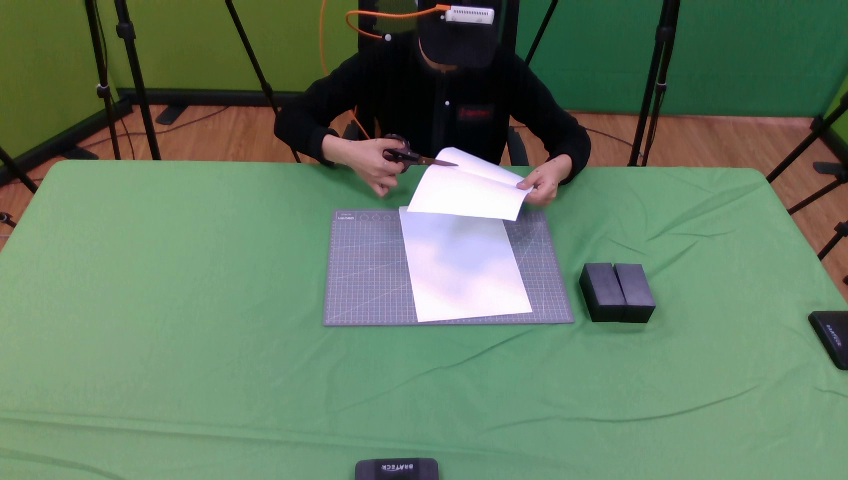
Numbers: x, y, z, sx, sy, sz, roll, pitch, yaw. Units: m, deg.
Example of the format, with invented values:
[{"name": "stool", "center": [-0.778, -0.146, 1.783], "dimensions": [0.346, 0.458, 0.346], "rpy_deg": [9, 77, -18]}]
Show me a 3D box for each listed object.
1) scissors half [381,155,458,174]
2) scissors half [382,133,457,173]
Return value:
[{"name": "scissors half", "center": [-0.010, -0.156, 1.245], "dimensions": [0.175, 0.040, 0.013], "rpy_deg": [3, 27, 27]}, {"name": "scissors half", "center": [-0.009, -0.175, 1.234], "dimensions": [0.175, 0.040, 0.013], "rpy_deg": [29, 40, 11]}]
